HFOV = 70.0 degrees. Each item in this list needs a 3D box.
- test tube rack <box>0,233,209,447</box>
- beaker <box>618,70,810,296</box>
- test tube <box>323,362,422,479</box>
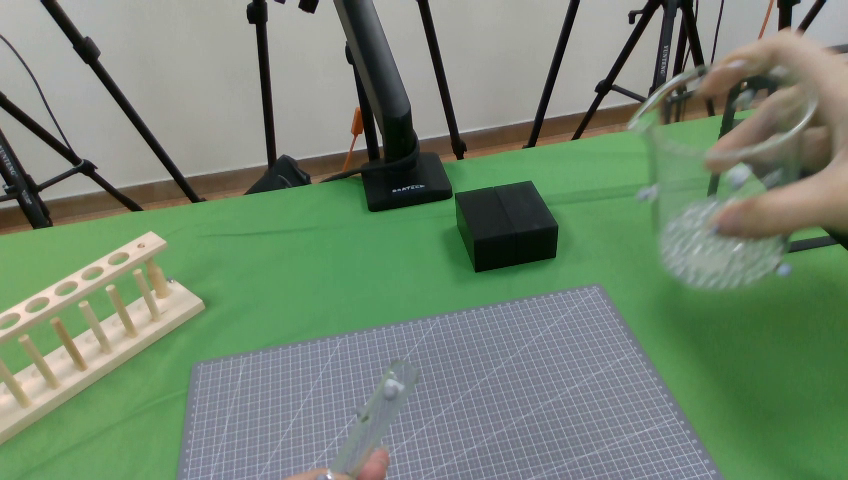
[{"bbox_3d":[-0.357,0.096,0.628,0.066,0.086,0.242,26,48,34],"label":"test tube rack"},{"bbox_3d":[0.151,-0.025,0.320,0.083,0.101,0.073,-3,45,24],"label":"beaker"},{"bbox_3d":[-0.040,0.119,0.322,0.017,0.151,0.017,23,29,-13],"label":"test tube"}]
